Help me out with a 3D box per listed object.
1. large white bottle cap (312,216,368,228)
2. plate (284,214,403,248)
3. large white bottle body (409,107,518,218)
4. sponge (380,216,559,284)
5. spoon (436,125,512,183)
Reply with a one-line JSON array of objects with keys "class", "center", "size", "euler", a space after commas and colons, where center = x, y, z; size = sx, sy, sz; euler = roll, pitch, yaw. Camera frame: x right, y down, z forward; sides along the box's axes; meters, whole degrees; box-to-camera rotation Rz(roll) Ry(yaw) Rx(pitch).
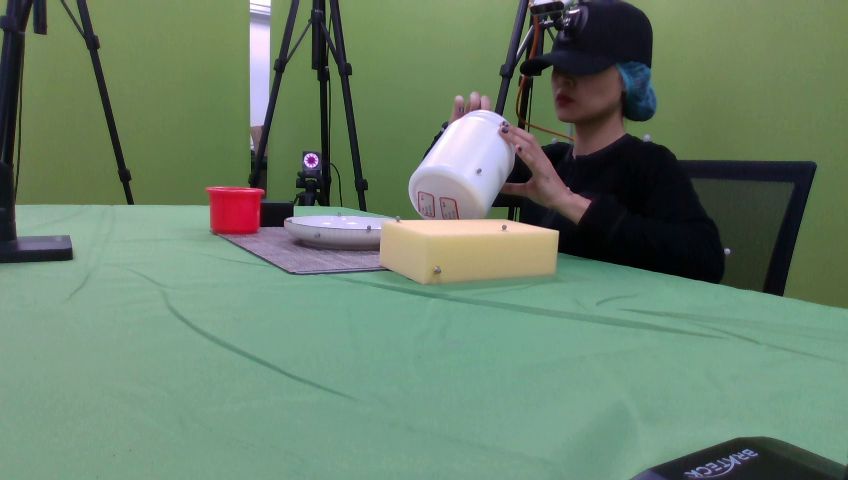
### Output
[{"class": "large white bottle cap", "center": [-0.171, -0.038, 1.234], "size": [0.115, 0.018, 0.115], "euler": [2, 5, 0]}, {"class": "plate", "center": [-0.122, -0.015, 0.984], "size": [0.209, 0.038, 0.209], "euler": [2, 7, 0]}, {"class": "large white bottle body", "center": [0.070, -0.119, 0.971], "size": [0.130, 0.131, 0.185], "euler": [6, 45, 30]}, {"class": "sponge", "center": [0.059, 0.008, 0.786], "size": [0.208, 0.061, 0.117], "euler": [-3, 11, -32]}, {"class": "spoon", "center": [0.086, -0.144, 0.995], "size": [0.194, 0.021, 0.041], "euler": [-36, 24, -35]}]
